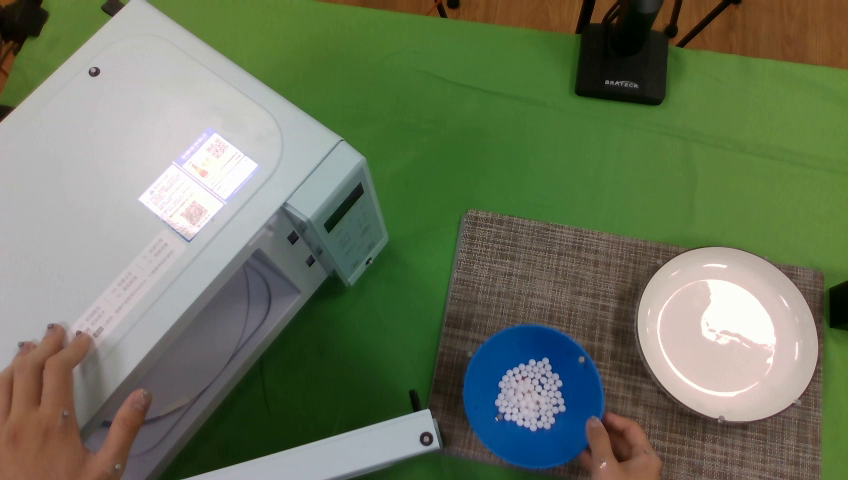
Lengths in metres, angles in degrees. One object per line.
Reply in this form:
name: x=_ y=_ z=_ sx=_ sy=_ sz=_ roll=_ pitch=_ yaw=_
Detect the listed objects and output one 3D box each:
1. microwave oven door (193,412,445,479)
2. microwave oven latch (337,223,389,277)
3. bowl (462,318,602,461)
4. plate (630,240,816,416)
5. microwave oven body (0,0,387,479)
microwave oven door: x=-0.156 y=0.224 z=0.573 sx=0.356 sy=0.245 sz=0.039 roll=-16 pitch=72 yaw=-3
microwave oven latch: x=-0.076 y=0.006 z=0.746 sx=0.030 sy=0.029 sz=0.079 roll=38 pitch=78 yaw=12
bowl: x=0.117 y=0.169 z=0.682 sx=0.151 sy=0.077 sz=0.150 roll=-1 pitch=72 yaw=2
plate: x=0.346 y=0.103 z=0.716 sx=0.207 sy=0.039 sz=0.206 roll=0 pitch=72 yaw=2
microwave oven body: x=-0.305 y=0.026 z=0.646 sx=0.324 sy=0.261 sz=0.441 roll=36 pitch=78 yaw=12
